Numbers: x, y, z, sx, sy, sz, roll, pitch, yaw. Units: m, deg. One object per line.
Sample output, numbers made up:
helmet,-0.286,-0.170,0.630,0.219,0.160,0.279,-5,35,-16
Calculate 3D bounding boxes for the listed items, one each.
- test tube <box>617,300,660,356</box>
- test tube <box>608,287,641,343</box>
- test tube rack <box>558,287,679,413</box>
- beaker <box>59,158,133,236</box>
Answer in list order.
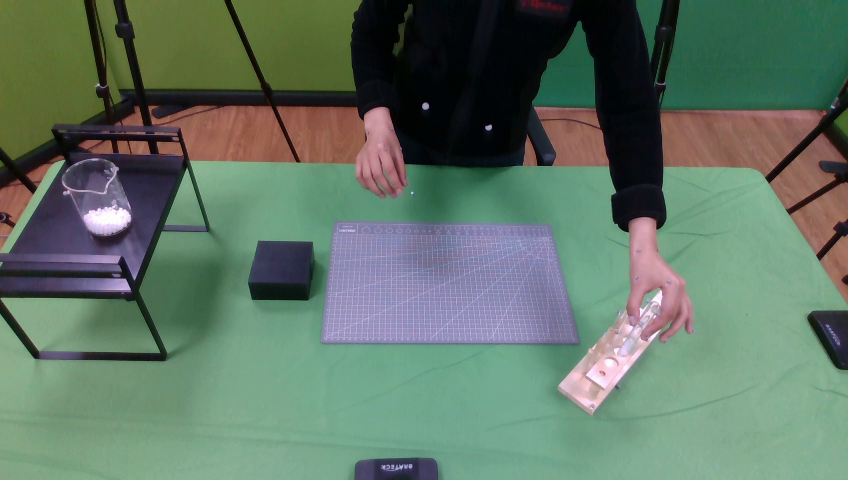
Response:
test tube,0.317,0.135,0.900,0.017,0.151,0.017,2,51,-3
test tube,0.325,0.124,0.991,0.017,0.151,0.017,2,49,-2
test tube rack,0.326,0.170,1.009,0.066,0.085,0.242,36,54,26
beaker,-0.488,-0.060,0.914,0.074,0.101,0.083,-35,58,-31
